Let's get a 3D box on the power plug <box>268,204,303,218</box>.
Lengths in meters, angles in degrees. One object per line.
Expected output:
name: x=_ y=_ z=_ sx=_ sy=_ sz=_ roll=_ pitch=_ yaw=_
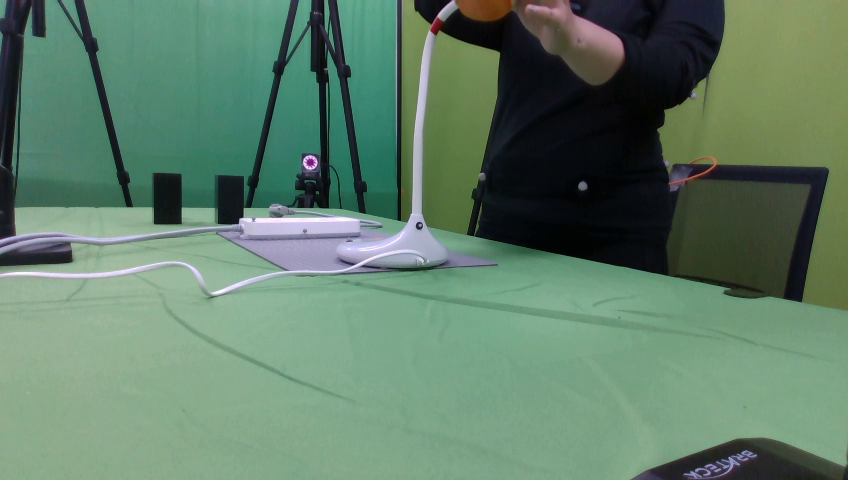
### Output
power plug: x=-0.327 y=-0.060 z=1.404 sx=0.073 sy=0.035 sz=0.052 roll=22 pitch=-14 yaw=-26

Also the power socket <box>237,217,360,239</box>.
power socket: x=-0.221 y=-0.023 z=1.080 sx=0.228 sy=0.032 sz=0.072 roll=-2 pitch=8 yaw=-33

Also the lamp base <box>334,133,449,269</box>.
lamp base: x=-0.034 y=-0.057 z=0.831 sx=0.161 sy=0.180 sz=0.178 roll=-3 pitch=12 yaw=-36

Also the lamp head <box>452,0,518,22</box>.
lamp head: x=0.070 y=-0.318 z=0.701 sx=0.112 sy=0.122 sz=0.112 roll=7 pitch=-2 yaw=1
